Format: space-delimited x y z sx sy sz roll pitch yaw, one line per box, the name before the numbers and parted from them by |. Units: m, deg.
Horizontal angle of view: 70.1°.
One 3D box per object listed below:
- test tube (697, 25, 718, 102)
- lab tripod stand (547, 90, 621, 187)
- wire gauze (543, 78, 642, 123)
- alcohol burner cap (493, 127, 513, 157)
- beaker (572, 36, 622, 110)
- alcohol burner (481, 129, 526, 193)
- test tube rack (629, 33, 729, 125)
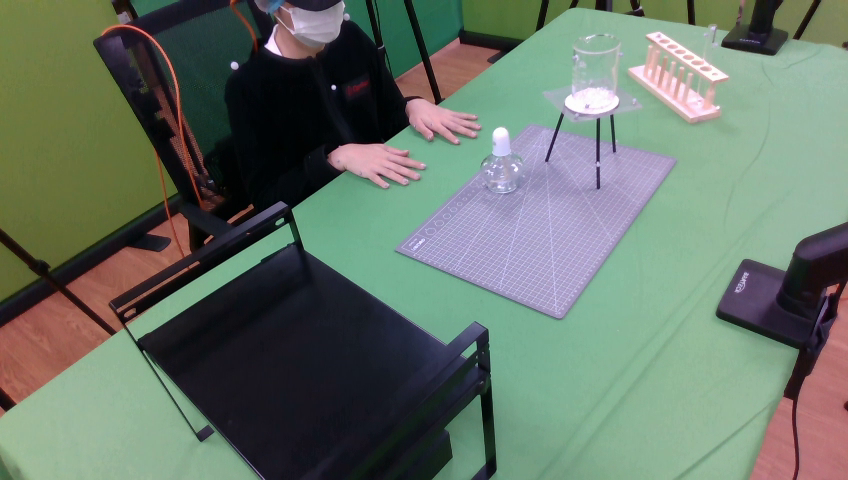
test tube | 0.546 -0.337 1.166 0.017 0.151 0.017 -5 36 4
lab tripod stand | 0.289 -0.184 1.062 0.148 0.132 0.147 -6 41 6
wire gauze | 0.282 -0.234 1.022 0.125 0.011 0.120 -17 38 -4
alcohol burner cap | 0.132 -0.169 1.030 0.034 0.048 0.033 -7 36 5
beaker | 0.279 -0.273 0.992 0.074 0.101 0.083 -14 40 -5
alcohol burner | 0.138 -0.142 1.052 0.078 0.119 0.077 -5 42 5
test tube rack | 0.516 -0.337 1.248 0.067 0.085 0.240 -14 41 -6
